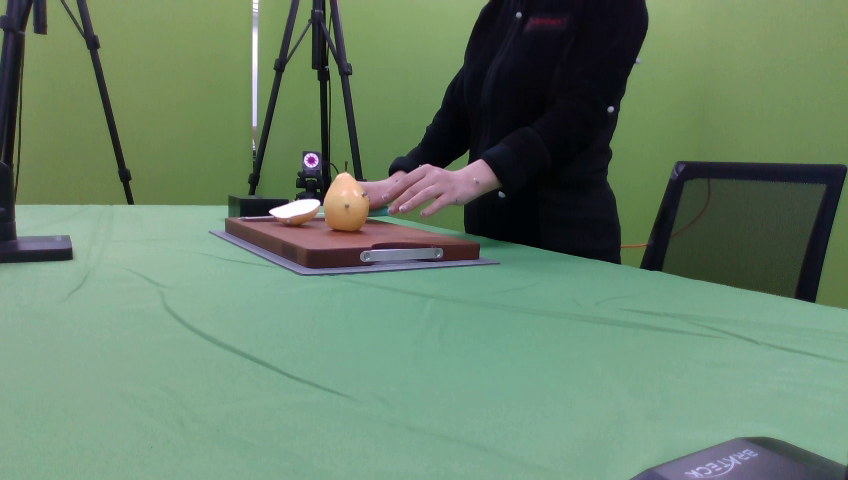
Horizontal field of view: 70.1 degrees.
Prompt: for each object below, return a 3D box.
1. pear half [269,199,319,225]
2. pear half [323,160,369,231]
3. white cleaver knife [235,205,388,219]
[{"bbox_3d":[-0.212,-0.042,0.995,0.088,0.031,0.070,-9,19,20],"label":"pear half"},{"bbox_3d":[-0.114,-0.068,0.938,0.056,0.110,0.076,6,12,27],"label":"pear half"},{"bbox_3d":[-0.194,-0.050,1.102,0.288,0.021,0.065,-3,5,-32],"label":"white cleaver knife"}]
